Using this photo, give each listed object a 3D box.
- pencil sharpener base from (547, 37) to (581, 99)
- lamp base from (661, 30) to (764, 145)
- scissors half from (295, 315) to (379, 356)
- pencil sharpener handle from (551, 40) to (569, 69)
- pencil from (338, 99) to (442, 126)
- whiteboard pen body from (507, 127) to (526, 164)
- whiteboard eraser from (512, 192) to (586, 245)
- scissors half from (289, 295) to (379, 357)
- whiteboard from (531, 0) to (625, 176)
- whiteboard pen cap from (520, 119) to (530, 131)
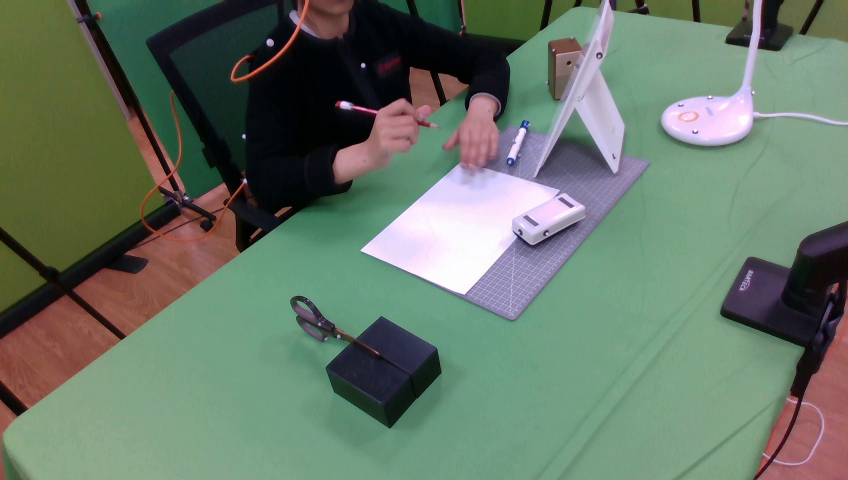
[{"bbox_3d":[0.300,-0.368,1.290,0.061,0.107,0.076,-8,40,2],"label":"pencil sharpener base"},{"bbox_3d":[0.535,-0.287,1.096,0.179,0.181,0.159,-10,40,-4],"label":"lamp base"},{"bbox_3d":[-0.119,0.131,0.813,0.173,0.040,0.013,9,34,45],"label":"scissors half"},{"bbox_3d":[0.291,-0.409,1.321,0.036,0.068,0.030,2,40,-6],"label":"pencil sharpener handle"},{"bbox_3d":[-0.059,-0.210,1.002,0.193,0.012,0.012,17,47,19],"label":"pencil"},{"bbox_3d":[0.181,-0.189,1.162,0.017,0.017,0.140,8,42,19],"label":"whiteboard pen body"},{"bbox_3d":[0.199,-0.032,0.962,0.113,0.042,0.055,-27,43,-20],"label":"whiteboard eraser"},{"bbox_3d":[-0.122,0.114,0.803,0.174,0.040,0.013,26,50,32],"label":"scissors half"},{"bbox_3d":[0.320,-0.258,1.050,0.144,0.306,0.217,22,45,5],"label":"whiteboard"},{"bbox_3d":[0.200,-0.226,1.204,0.018,0.018,0.033,7,42,18],"label":"whiteboard pen cap"}]
